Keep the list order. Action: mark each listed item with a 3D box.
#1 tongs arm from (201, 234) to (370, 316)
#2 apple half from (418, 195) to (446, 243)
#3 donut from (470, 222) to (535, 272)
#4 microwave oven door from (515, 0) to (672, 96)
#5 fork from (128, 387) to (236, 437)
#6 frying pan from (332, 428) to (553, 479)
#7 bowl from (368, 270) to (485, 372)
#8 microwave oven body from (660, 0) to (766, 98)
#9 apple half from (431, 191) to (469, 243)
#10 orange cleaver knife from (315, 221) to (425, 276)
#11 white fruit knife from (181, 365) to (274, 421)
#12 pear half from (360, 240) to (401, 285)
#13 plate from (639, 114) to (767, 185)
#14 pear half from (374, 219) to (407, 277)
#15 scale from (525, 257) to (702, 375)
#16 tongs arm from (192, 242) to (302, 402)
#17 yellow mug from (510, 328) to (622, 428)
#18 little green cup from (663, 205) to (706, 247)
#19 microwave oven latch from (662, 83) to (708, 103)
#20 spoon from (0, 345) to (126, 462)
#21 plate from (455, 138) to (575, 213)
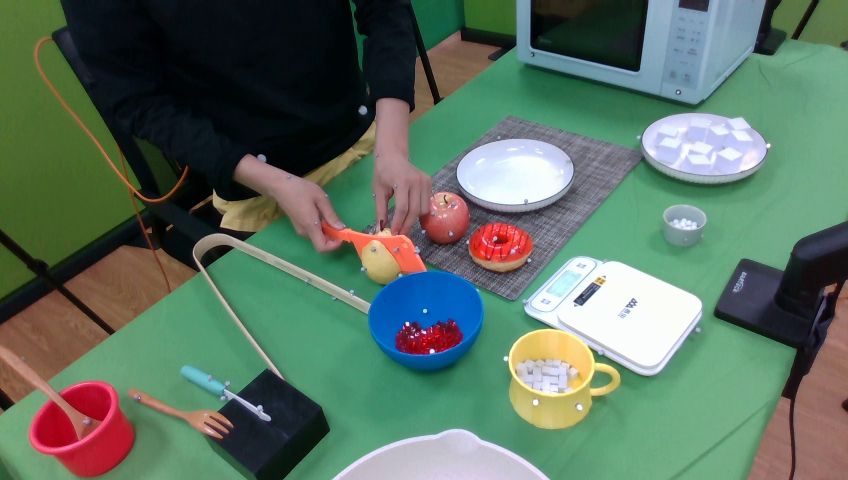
[{"bbox_3d":[-0.208,0.061,0.924,0.381,0.026,0.051,24,52,32],"label":"tongs arm"},{"bbox_3d":[0.008,-0.028,0.959,0.033,0.081,0.080,-14,41,-12],"label":"apple half"},{"bbox_3d":[0.119,0.009,0.923,0.099,0.048,0.098,-4,38,4],"label":"donut"},{"bbox_3d":[0.343,-0.454,1.259,0.353,0.245,0.039,26,51,33],"label":"microwave oven door"},{"bbox_3d":[-0.305,0.207,0.744,0.206,0.019,0.028,3,41,36],"label":"fork"},{"bbox_3d":[-0.089,0.306,0.564,0.487,0.103,0.306,10,41,7],"label":"frying pan"},{"bbox_3d":[0.007,0.118,0.791,0.151,0.077,0.150,-5,40,4],"label":"bowl"},{"bbox_3d":[0.472,-0.513,1.317,0.438,0.261,0.327,26,51,34],"label":"microwave oven body"},{"bbox_3d":[0.045,-0.038,0.967,0.053,0.075,0.080,-14,37,-11],"label":"apple half"},{"bbox_3d":[-0.084,0.012,0.903,0.209,0.077,0.012,12,37,38],"label":"orange cleaver knife"},{"bbox_3d":[-0.245,0.188,0.747,0.205,0.027,0.016,9,41,40],"label":"white fruit knife"},{"bbox_3d":[-0.069,0.040,0.890,0.070,0.088,0.031,14,54,22],"label":"pear half"},{"bbox_3d":[0.489,-0.157,1.074,0.207,0.039,0.206,-4,40,4],"label":"plate"},{"bbox_3d":[-0.049,0.006,0.908,0.076,0.110,0.056,17,46,24],"label":"pear half"},{"bbox_3d":[0.254,0.091,0.821,0.199,0.032,0.149,28,51,35],"label":"scale"},{"bbox_3d":[-0.268,0.107,0.882,0.028,0.028,0.384,-34,46,-19],"label":"tongs arm"},{"bbox_3d":[0.169,0.164,0.722,0.130,0.064,0.099,0,40,8],"label":"yellow mug"},{"bbox_3d":[0.396,-0.020,0.926,0.061,0.039,0.061,-4,40,4],"label":"little green cup"},{"bbox_3d":[0.518,-0.296,1.204,0.078,0.029,0.030,28,52,35],"label":"microwave oven latch"},{"bbox_3d":[-0.434,0.192,0.720,0.194,0.021,0.042,47,53,-6],"label":"spoon"},{"bbox_3d":[0.159,-0.111,1.063,0.209,0.038,0.208,-4,40,4],"label":"plate"}]
